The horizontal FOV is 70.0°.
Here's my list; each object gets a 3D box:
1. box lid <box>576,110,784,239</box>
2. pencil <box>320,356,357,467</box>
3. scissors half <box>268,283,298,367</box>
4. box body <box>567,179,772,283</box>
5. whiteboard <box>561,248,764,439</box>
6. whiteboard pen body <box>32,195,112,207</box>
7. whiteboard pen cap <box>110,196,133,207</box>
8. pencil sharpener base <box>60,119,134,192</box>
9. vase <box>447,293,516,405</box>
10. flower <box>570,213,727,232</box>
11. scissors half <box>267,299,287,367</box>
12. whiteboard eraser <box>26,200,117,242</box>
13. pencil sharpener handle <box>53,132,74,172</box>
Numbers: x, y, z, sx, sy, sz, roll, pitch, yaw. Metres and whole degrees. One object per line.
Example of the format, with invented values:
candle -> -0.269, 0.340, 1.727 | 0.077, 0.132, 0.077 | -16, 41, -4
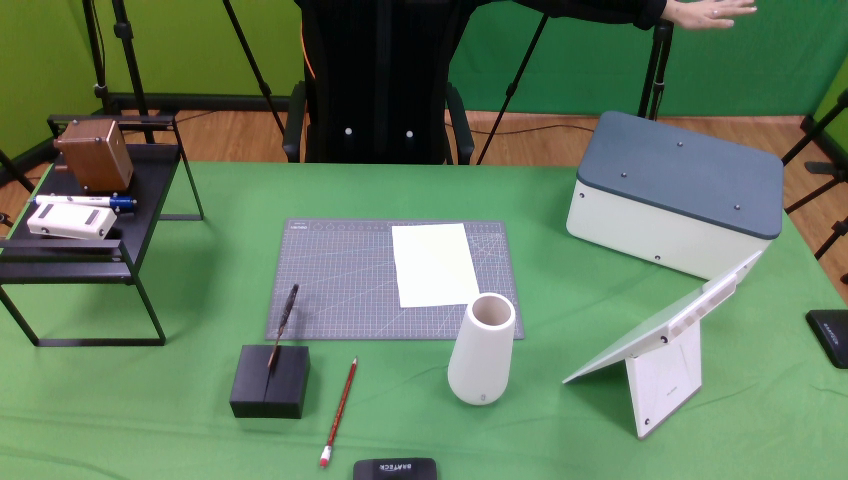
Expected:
box lid -> 0.498, -0.137, 1.167 | 0.371, 0.015, 0.262 | 19, 48, 14
pencil -> -0.130, 0.261, 0.946 | 0.012, 0.012, 0.193 | 10, 45, 5
scissors half -> -0.230, 0.135, 0.986 | 0.013, 0.040, 0.174 | 19, 43, -10
box body -> 0.493, -0.086, 1.220 | 0.363, 0.161, 0.253 | 19, 48, 14
whiteboard -> 0.386, 0.176, 0.905 | 0.217, 0.306, 0.143 | -26, 72, -27
whiteboard pen body -> -0.543, -0.061, 0.961 | 0.141, 0.017, 0.017 | 1, 46, -10
whiteboard pen cap -> -0.486, -0.061, 0.972 | 0.033, 0.018, 0.018 | 0, 46, -9
pencil sharpener base -> -0.528, -0.135, 0.979 | 0.077, 0.107, 0.061 | -4, 47, -7
vase -> 0.091, 0.169, 0.921 | 0.098, 0.201, 0.097 | 3, 47, -3
flower -> 0.479, -0.039, 1.270 | 0.362, 0.038, 0.044 | -1, 15, -13
scissors half -> -0.239, 0.150, 0.997 | 0.013, 0.040, 0.174 | 24, 24, -13
whiteboard eraser -> -0.532, -0.026, 0.919 | 0.113, 0.042, 0.055 | 7, 45, 3
pencil sharpener handle -> -0.578, -0.138, 0.961 | 0.031, 0.068, 0.036 | -4, 34, -7
